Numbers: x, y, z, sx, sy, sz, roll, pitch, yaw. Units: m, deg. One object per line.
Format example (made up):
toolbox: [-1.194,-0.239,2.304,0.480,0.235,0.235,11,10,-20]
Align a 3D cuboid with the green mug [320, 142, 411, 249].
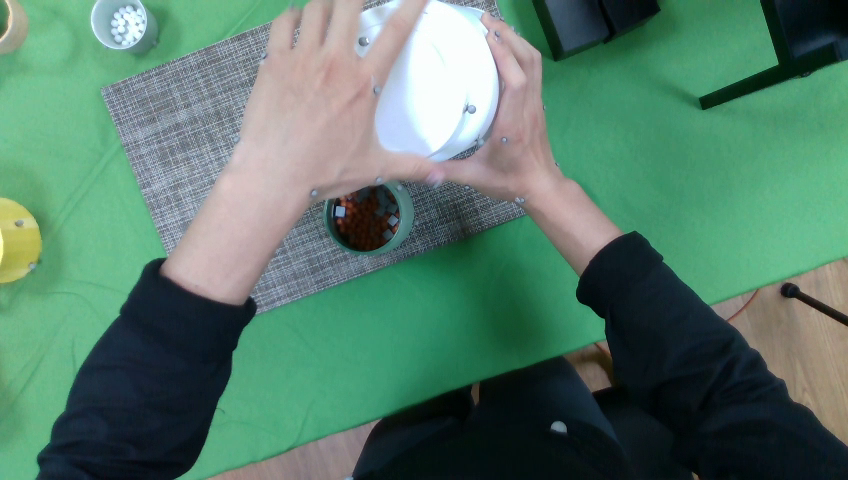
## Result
green mug: [-0.063,-0.051,0.641,0.092,0.105,0.125,-3,95,2]

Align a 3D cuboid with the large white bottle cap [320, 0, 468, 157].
large white bottle cap: [-0.024,-0.119,0.453,0.114,0.018,0.115,6,110,19]

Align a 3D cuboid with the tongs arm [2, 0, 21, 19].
tongs arm: [-0.600,-0.317,0.629,0.387,0.028,0.028,22,88,1]

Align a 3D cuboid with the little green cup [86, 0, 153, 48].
little green cup: [-0.330,-0.241,0.663,0.061,0.038,0.061,0,96,0]

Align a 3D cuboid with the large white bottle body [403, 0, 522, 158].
large white bottle body: [0.005,-0.144,0.529,0.130,0.184,0.131,7,110,19]

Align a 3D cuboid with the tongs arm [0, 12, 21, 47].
tongs arm: [-0.619,-0.236,0.634,0.385,0.026,0.051,8,92,2]

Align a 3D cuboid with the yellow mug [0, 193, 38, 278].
yellow mug: [-0.502,0.012,0.673,0.100,0.064,0.131,12,96,-1]
